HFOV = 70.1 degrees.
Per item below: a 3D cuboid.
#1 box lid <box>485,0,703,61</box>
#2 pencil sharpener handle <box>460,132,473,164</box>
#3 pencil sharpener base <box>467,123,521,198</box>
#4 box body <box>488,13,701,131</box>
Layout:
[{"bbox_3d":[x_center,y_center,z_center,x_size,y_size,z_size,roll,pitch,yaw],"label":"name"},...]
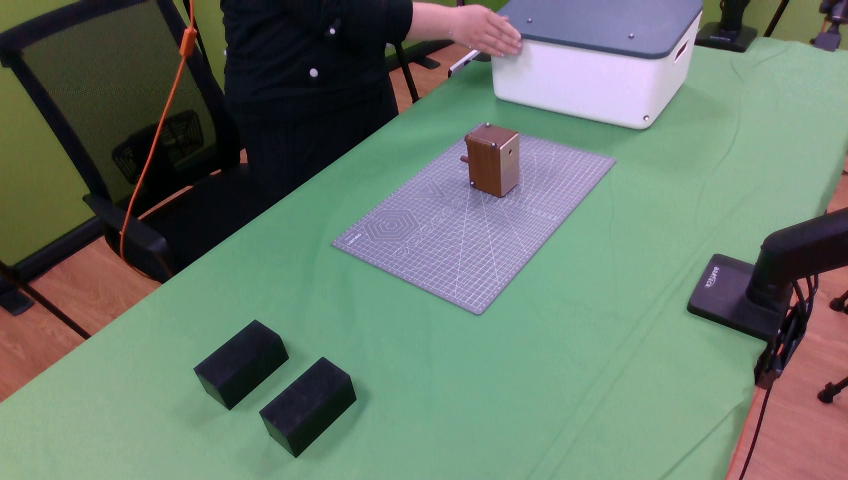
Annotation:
[{"bbox_3d":[0.335,-0.440,1.199,0.369,0.015,0.264,20,50,28],"label":"box lid"},{"bbox_3d":[0.077,-0.163,1.062,0.030,0.068,0.036,23,43,32],"label":"pencil sharpener handle"},{"bbox_3d":[0.119,-0.138,1.044,0.076,0.107,0.061,23,50,32],"label":"pencil sharpener base"},{"bbox_3d":[0.345,-0.379,1.257,0.361,0.161,0.255,20,48,29],"label":"box body"}]
